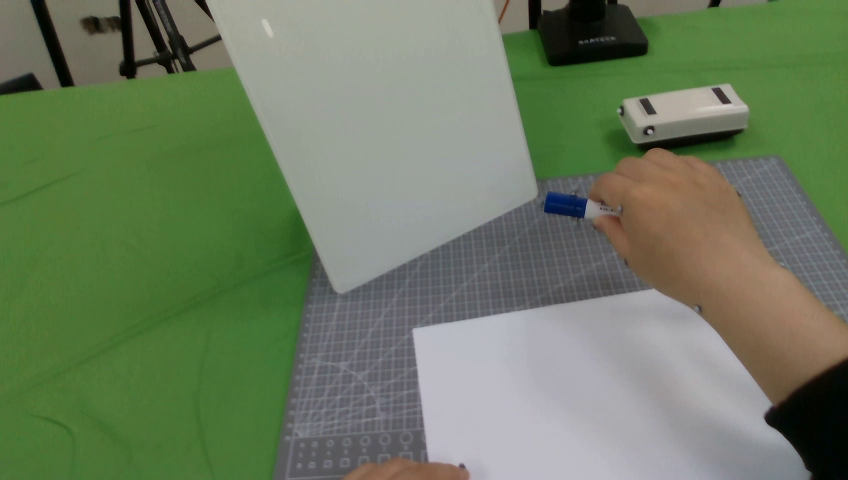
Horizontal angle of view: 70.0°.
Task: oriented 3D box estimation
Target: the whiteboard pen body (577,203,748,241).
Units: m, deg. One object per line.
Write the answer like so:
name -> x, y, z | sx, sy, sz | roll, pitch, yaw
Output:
whiteboard pen body -> 0.165, -0.015, 0.453 | 0.140, 0.017, 0.017 | 8, 47, 14

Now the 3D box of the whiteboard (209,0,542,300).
whiteboard -> -0.051, -0.145, 0.543 | 0.217, 0.308, 0.142 | -26, 26, -14

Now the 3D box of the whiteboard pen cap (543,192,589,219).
whiteboard pen cap -> 0.110, -0.026, 0.467 | 0.033, 0.018, 0.018 | 11, 48, 11

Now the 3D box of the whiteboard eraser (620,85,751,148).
whiteboard eraser -> 0.261, -0.122, 0.610 | 0.113, 0.042, 0.055 | -7, 47, 2
